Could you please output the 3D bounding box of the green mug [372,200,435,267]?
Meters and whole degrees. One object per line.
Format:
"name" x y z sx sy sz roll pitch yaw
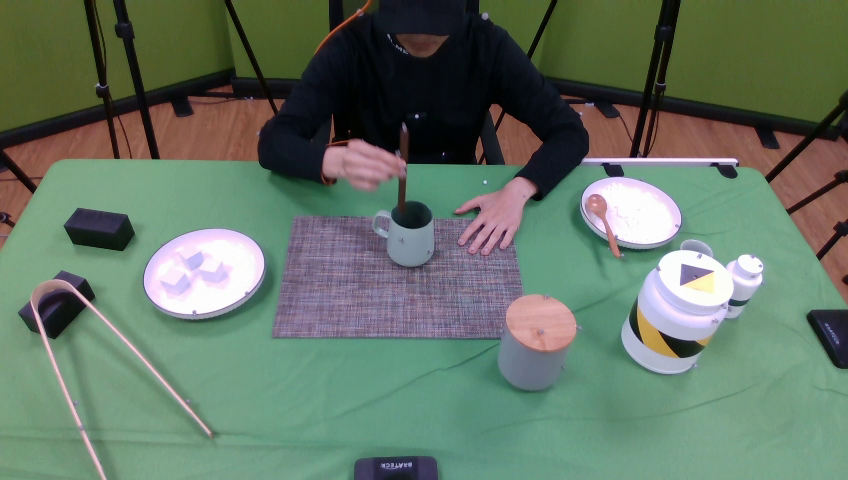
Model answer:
"green mug" -0.040 -0.015 1.146 0.125 0.105 0.092 17 48 13

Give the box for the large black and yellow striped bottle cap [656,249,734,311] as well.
"large black and yellow striped bottle cap" 0.419 0.061 0.938 0.115 0.019 0.114 2 47 -2

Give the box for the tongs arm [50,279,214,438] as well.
"tongs arm" -0.459 0.178 0.949 0.386 0.028 0.028 37 60 17

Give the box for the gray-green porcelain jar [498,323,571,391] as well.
"gray-green porcelain jar" 0.176 0.172 0.971 0.106 0.127 0.105 2 46 -2

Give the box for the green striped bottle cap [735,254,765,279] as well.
"green striped bottle cap" 0.566 0.046 1.051 0.044 0.020 0.044 0 45 0

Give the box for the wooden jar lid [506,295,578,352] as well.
"wooden jar lid" 0.179 0.130 0.926 0.108 0.021 0.107 2 43 -2

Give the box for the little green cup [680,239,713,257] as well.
"little green cup" 0.530 0.033 1.189 0.061 0.039 0.061 2 48 -3

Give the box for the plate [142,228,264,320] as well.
"plate" -0.394 0.064 1.095 0.208 0.039 0.206 2 46 -2

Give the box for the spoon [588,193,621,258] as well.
"spoon" 0.367 -0.032 1.220 0.041 0.022 0.192 1 38 0

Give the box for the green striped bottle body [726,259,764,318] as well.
"green striped bottle body" 0.563 0.081 1.089 0.063 0.120 0.063 2 46 -2

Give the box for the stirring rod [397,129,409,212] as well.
"stirring rod" -0.037 -0.115 1.038 0.014 0.177 0.006 2 44 -4

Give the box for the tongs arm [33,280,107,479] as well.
"tongs arm" -0.517 0.214 0.909 0.051 0.026 0.383 -29 63 -27

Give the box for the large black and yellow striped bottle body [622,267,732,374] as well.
"large black and yellow striped bottle body" 0.415 0.119 0.997 0.131 0.185 0.130 2 46 -2

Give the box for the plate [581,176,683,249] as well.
"plate" 0.430 -0.054 1.267 0.209 0.038 0.208 2 46 -2
